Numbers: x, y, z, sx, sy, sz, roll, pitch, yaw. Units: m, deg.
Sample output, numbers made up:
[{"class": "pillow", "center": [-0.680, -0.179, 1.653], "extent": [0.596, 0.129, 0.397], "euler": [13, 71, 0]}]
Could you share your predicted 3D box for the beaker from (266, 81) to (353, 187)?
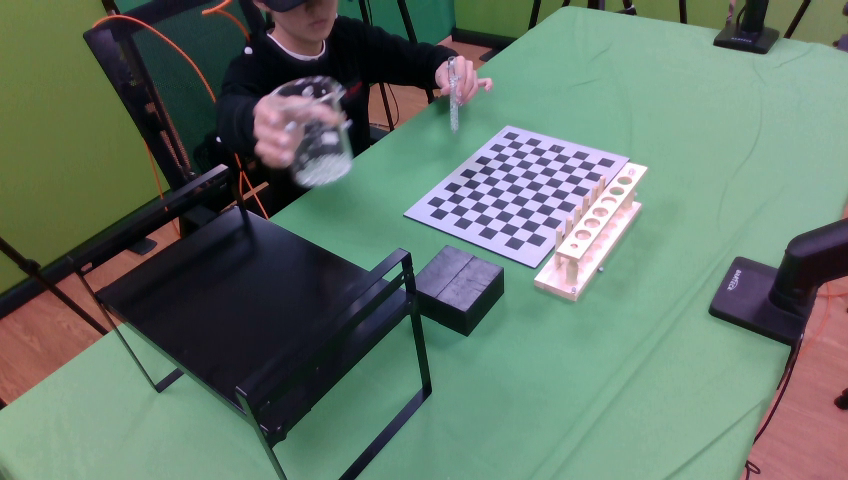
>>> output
[{"class": "beaker", "center": [-0.122, -0.118, 0.680], "extent": [0.084, 0.101, 0.073], "euler": [-5, 37, 8]}]

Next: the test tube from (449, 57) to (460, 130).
[{"class": "test tube", "center": [0.056, -0.261, 1.095], "extent": [0.017, 0.151, 0.017], "euler": [-3, 47, 3]}]

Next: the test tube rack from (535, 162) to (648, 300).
[{"class": "test tube rack", "center": [0.257, -0.024, 0.916], "extent": [0.066, 0.085, 0.243], "euler": [22, 49, 30]}]
